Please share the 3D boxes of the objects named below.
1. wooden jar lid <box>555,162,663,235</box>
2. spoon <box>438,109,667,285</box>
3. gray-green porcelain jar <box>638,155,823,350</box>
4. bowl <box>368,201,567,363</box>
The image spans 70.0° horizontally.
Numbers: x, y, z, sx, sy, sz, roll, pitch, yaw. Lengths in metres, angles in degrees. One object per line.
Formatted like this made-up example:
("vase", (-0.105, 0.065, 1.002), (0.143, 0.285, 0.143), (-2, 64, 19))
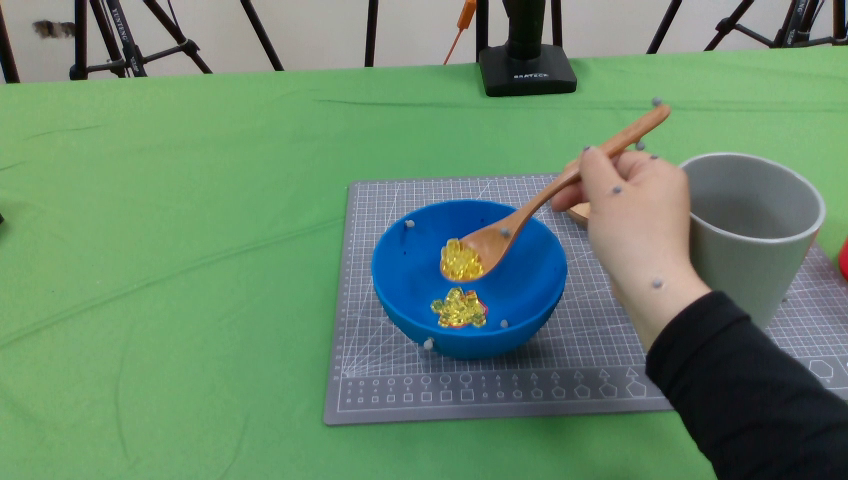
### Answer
("wooden jar lid", (0.187, -0.042, 0.618), (0.108, 0.021, 0.107), (-1, 41, 2))
("spoon", (0.089, -0.029, 0.432), (0.194, 0.022, 0.041), (-40, 44, 17))
("gray-green porcelain jar", (0.229, 0.015, 0.474), (0.106, 0.127, 0.105), (-1, 42, 2))
("bowl", (0.034, 0.045, 0.485), (0.151, 0.077, 0.150), (-1, 43, 1))
